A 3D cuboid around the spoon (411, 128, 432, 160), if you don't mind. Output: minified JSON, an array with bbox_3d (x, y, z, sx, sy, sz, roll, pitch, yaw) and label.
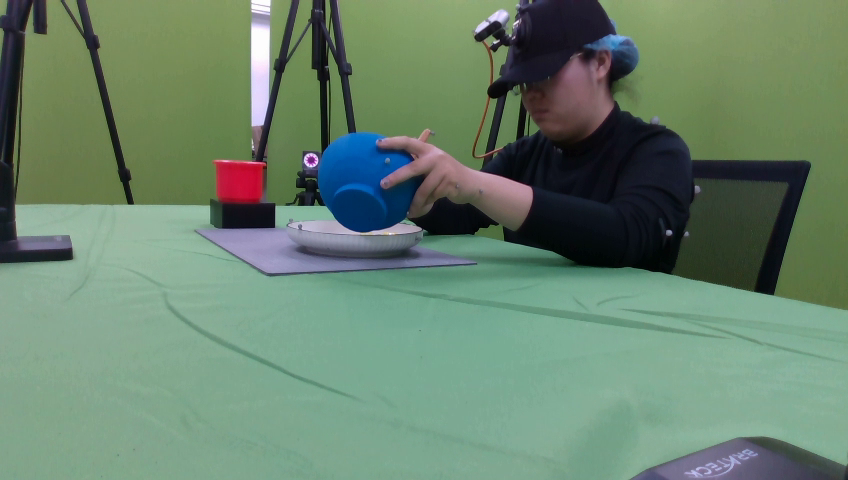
[{"bbox_3d":[-0.036,-0.100,0.901,0.041,0.022,0.194,15,55,26],"label":"spoon"}]

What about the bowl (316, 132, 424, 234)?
[{"bbox_3d":[-0.081,-0.061,0.816,0.151,0.151,0.077,3,41,9],"label":"bowl"}]

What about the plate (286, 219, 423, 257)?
[{"bbox_3d":[-0.105,-0.003,0.922,0.208,0.039,0.207,3,7,0],"label":"plate"}]
